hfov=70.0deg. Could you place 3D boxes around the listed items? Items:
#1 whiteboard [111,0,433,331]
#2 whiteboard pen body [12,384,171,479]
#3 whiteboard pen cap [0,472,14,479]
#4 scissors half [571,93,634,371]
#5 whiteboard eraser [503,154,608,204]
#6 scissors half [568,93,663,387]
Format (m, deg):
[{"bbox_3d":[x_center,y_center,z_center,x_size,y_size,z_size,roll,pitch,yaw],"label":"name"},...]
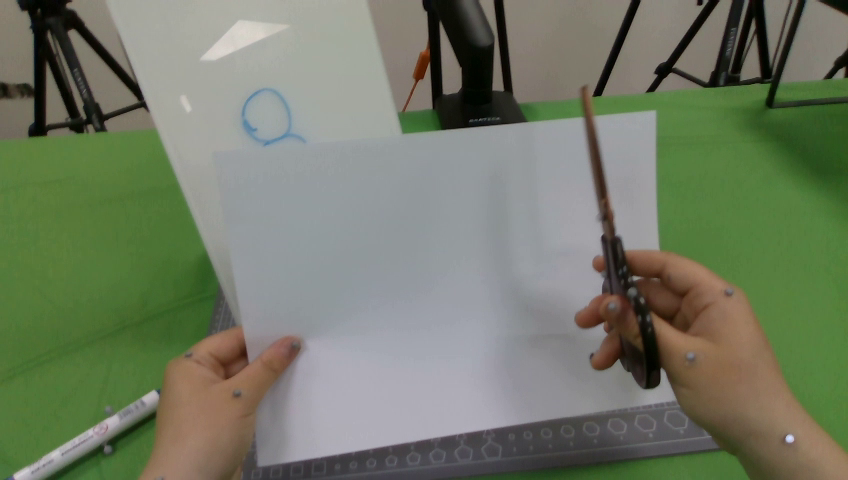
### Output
[{"bbox_3d":[-0.147,-0.108,0.605,0.217,0.307,0.142,-24,23,-25],"label":"whiteboard"},{"bbox_3d":[-0.259,0.152,0.455,0.017,0.017,0.141,31,47,34],"label":"whiteboard pen body"},{"bbox_3d":[-0.300,0.177,0.423,0.018,0.018,0.033,30,47,34],"label":"whiteboard pen cap"},{"bbox_3d":[0.108,-0.002,0.367,0.013,0.176,0.040,-16,13,-2],"label":"scissors half"},{"bbox_3d":[0.153,-0.070,0.710,0.113,0.042,0.055,-6,40,-7],"label":"whiteboard eraser"},{"bbox_3d":[0.107,-0.001,0.346,0.013,0.175,0.040,-16,-4,3],"label":"scissors half"}]
